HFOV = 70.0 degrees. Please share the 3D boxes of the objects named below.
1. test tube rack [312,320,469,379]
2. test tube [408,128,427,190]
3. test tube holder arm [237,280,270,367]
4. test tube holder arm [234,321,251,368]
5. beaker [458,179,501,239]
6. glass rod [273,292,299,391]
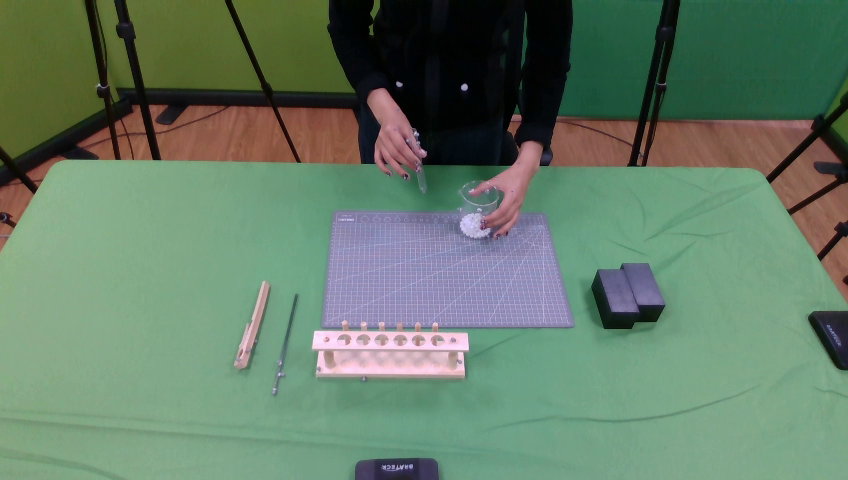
[{"bbox_3d":[-0.054,0.173,0.984,0.242,0.085,0.066,1,46,-3],"label":"test tube rack"},{"bbox_3d":[-0.011,-0.153,1.169,0.017,0.151,0.017,-5,47,6],"label":"test tube"},{"bbox_3d":[-0.290,0.139,1.042,0.013,0.015,0.177,-17,42,22],"label":"test tube holder arm"},{"bbox_3d":[-0.299,0.173,1.013,0.010,0.015,0.087,-16,42,22],"label":"test tube holder arm"},{"bbox_3d":[0.105,-0.059,1.205,0.084,0.101,0.073,10,46,7],"label":"beaker"},{"bbox_3d":[-0.233,0.167,1.030,0.008,0.008,0.198,3,46,0],"label":"glass rod"}]
